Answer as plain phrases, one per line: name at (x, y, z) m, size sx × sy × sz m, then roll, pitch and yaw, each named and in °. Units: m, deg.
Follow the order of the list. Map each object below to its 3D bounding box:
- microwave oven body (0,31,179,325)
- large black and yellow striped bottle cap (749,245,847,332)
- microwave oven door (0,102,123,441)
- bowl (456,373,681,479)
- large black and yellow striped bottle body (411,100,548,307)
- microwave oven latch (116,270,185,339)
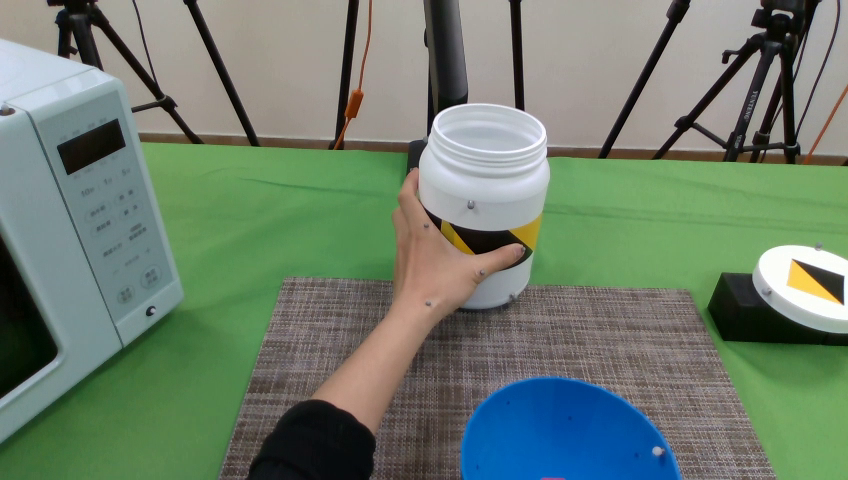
microwave oven body at (-0.483, 0.028, 0.456) m, size 0.324 × 0.262 × 0.440 m, roll 20°, pitch 42°, yaw 21°
large black and yellow striped bottle cap at (0.388, 0.045, 0.603) m, size 0.115 × 0.019 × 0.114 m, roll 1°, pitch 37°, yaw 0°
microwave oven door at (-0.375, 0.091, 0.371) m, size 0.039 × 0.246 × 0.355 m, roll 19°, pitch 41°, yaw 22°
bowl at (0.096, 0.179, 0.438) m, size 0.151 × 0.077 × 0.150 m, roll 1°, pitch 37°, yaw -1°
large black and yellow striped bottle body at (0.055, -0.037, 0.625) m, size 0.131 × 0.185 × 0.129 m, roll 3°, pitch 37°, yaw -2°
microwave oven latch at (-0.270, 0.058, 0.587) m, size 0.030 × 0.030 × 0.079 m, roll 22°, pitch 42°, yaw 22°
